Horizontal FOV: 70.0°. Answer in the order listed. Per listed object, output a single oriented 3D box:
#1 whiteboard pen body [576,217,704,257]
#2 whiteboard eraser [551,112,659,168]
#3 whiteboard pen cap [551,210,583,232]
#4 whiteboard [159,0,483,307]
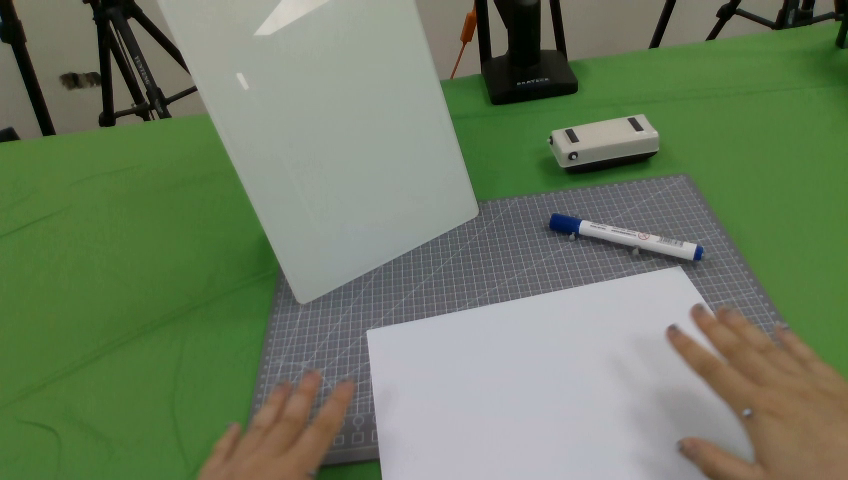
[{"bbox_3d":[0.196,-0.006,0.587,0.140,0.017,0.017,15,47,27],"label":"whiteboard pen body"},{"bbox_3d":[0.207,-0.113,0.696,0.113,0.042,0.055,-9,43,-1],"label":"whiteboard eraser"},{"bbox_3d":[0.147,-0.019,0.615,0.033,0.018,0.018,17,48,25],"label":"whiteboard pen cap"},{"bbox_3d":[-0.103,-0.129,0.620,0.217,0.307,0.142,-27,23,-18],"label":"whiteboard"}]
